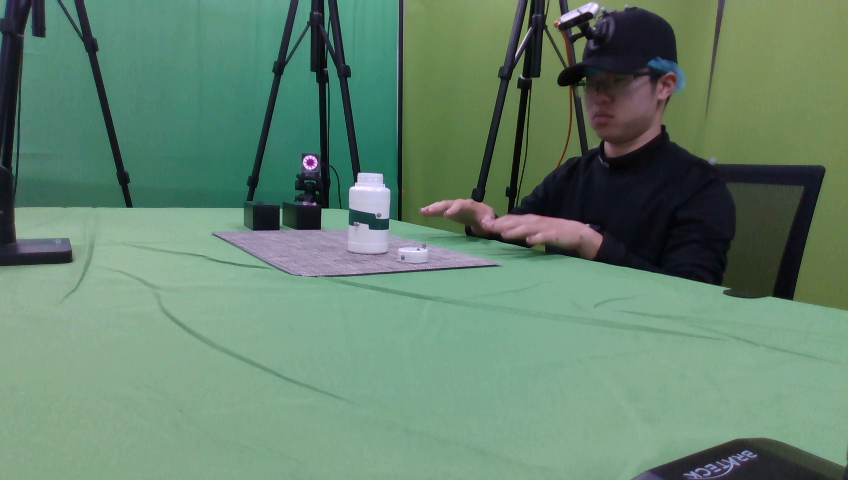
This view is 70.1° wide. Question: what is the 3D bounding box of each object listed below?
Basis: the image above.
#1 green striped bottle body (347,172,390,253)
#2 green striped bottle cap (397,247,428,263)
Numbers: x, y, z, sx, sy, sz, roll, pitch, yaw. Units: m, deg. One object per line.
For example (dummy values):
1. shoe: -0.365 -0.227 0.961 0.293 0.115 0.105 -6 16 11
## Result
1. green striped bottle body: -0.083 -0.043 0.913 0.063 0.119 0.063 2 7 0
2. green striped bottle cap: -0.016 0.021 0.851 0.044 0.020 0.044 1 5 0
